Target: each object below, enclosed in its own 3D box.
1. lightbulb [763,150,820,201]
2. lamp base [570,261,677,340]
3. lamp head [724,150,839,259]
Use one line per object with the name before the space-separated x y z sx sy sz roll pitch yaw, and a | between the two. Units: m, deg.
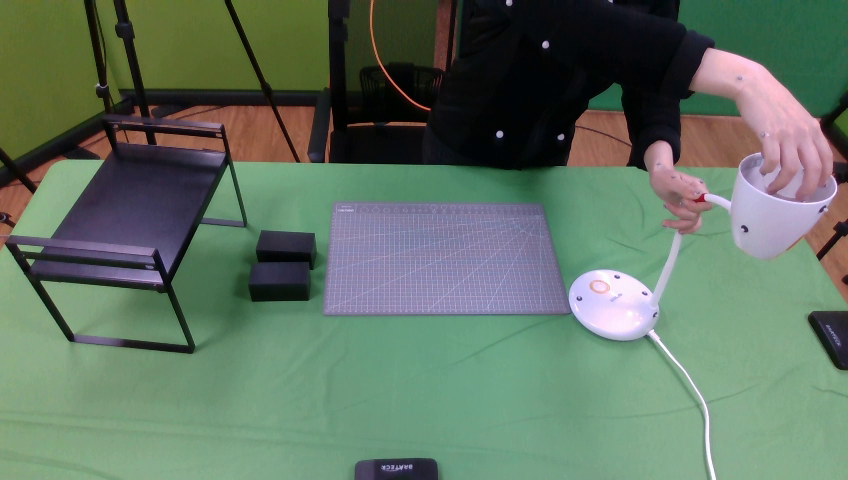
lightbulb | 0.445 -0.060 0.749 0.059 0.108 0.059 0 38 0
lamp base | 0.359 0.068 1.046 0.178 0.181 0.160 37 55 25
lamp head | 0.440 -0.039 0.773 0.112 0.123 0.111 1 45 0
